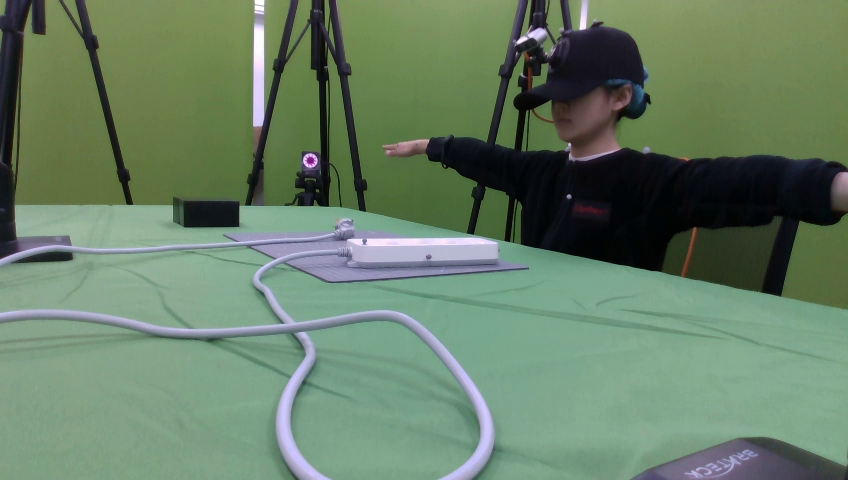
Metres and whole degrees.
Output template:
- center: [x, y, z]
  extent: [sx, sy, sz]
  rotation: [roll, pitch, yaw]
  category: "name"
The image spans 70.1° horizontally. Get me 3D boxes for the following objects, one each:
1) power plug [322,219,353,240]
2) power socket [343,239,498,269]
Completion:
- center: [-0.153, -0.023, 1.042]
  extent: [0.052, 0.035, 0.073]
  rotation: [31, 12, 39]
  category: "power plug"
- center: [-0.002, 0.018, 0.829]
  extent: [0.228, 0.032, 0.072]
  rotation: [0, 7, -24]
  category: "power socket"
